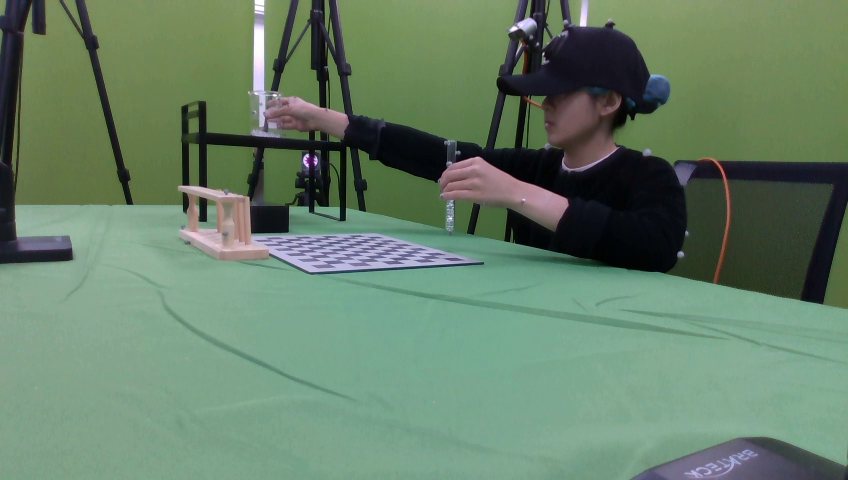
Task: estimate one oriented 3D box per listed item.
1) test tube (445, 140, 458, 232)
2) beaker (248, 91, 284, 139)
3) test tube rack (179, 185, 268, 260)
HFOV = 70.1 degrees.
[{"bbox_3d":[0.045,-0.087,0.982,0.017,0.150,0.017,1,11,0],"label":"test tube"},{"bbox_3d":[-0.352,-0.277,1.343,0.073,0.100,0.084,8,10,39],"label":"beaker"},{"bbox_3d":[-0.303,-0.031,0.898,0.067,0.085,0.241,-2,9,-33],"label":"test tube rack"}]
